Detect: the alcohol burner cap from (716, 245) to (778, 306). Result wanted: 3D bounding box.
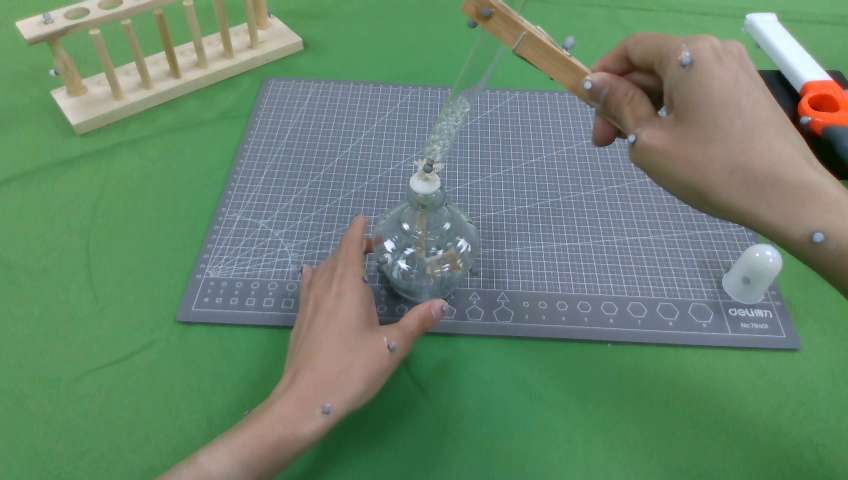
[{"bbox_3d":[0.244,0.024,0.453,0.034,0.048,0.033,2,48,-2],"label":"alcohol burner cap"}]

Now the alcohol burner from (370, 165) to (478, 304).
[{"bbox_3d":[0.000,-0.008,0.424,0.078,0.120,0.077,0,51,0],"label":"alcohol burner"}]

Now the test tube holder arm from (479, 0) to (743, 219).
[{"bbox_3d":[0.093,-0.072,0.320,0.178,0.015,0.013,40,38,5],"label":"test tube holder arm"}]

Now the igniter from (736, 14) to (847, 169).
[{"bbox_3d":[0.348,-0.128,0.538,0.057,0.025,0.273,-3,47,-1],"label":"igniter"}]

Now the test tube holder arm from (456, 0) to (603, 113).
[{"bbox_3d":[0.056,-0.098,0.319,0.088,0.015,0.010,36,37,0],"label":"test tube holder arm"}]

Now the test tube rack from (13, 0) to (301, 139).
[{"bbox_3d":[-0.248,-0.196,0.598,0.242,0.086,0.066,-30,57,-25],"label":"test tube rack"}]

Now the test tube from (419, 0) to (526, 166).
[{"bbox_3d":[0.033,-0.104,0.330,0.017,0.151,0.017,21,32,-13],"label":"test tube"}]
